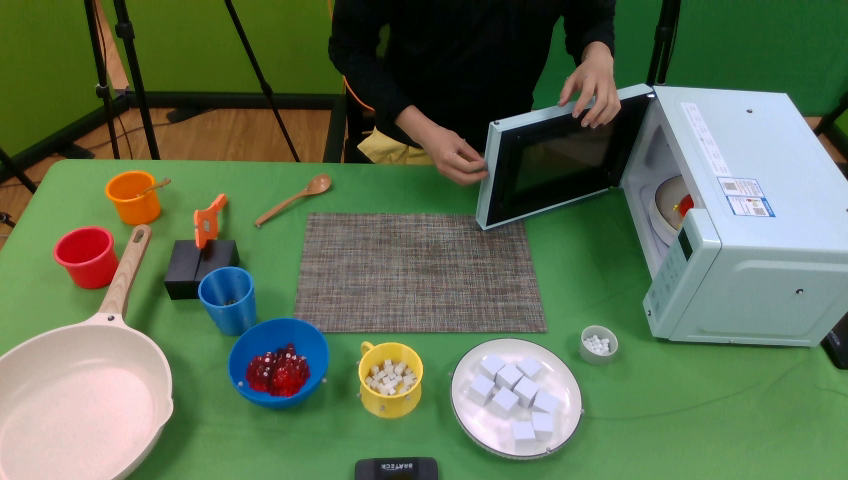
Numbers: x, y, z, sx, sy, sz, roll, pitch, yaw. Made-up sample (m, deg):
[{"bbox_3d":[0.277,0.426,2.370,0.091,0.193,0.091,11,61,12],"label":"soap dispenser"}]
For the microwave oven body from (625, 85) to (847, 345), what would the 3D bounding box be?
[{"bbox_3d":[0.568,-0.054,1.116,0.326,0.261,0.439,2,46,-1],"label":"microwave oven body"}]

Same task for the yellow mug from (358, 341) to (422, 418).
[{"bbox_3d":[-0.063,0.210,0.961,0.100,0.064,0.130,-29,54,-28],"label":"yellow mug"}]

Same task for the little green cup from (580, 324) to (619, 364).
[{"bbox_3d":[0.296,0.179,1.031,0.061,0.039,0.061,2,45,-2],"label":"little green cup"}]

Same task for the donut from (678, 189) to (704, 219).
[{"bbox_3d":[0.542,-0.060,1.173,0.099,0.048,0.098,2,44,-1],"label":"donut"}]

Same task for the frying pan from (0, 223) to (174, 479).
[{"bbox_3d":[-0.504,0.169,0.941,0.307,0.103,0.485,5,54,-1],"label":"frying pan"}]

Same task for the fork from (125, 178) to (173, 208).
[{"bbox_3d":[-0.525,-0.090,1.154,0.207,0.019,0.028,-17,27,45],"label":"fork"}]

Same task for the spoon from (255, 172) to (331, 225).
[{"bbox_3d":[-0.272,-0.087,1.257,0.041,0.022,0.193,43,57,16],"label":"spoon"}]

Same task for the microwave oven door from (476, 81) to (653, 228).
[{"bbox_3d":[0.276,-0.168,1.197,0.356,0.245,0.039,-18,51,-20],"label":"microwave oven door"}]

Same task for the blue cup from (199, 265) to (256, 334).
[{"bbox_3d":[-0.321,0.106,1.014,0.093,0.101,0.092,2,48,-2],"label":"blue cup"}]

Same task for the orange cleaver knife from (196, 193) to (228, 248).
[{"bbox_3d":[-0.406,-0.041,1.163,0.012,0.077,0.210,0,18,-3],"label":"orange cleaver knife"}]

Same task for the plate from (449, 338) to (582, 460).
[{"bbox_3d":[0.141,0.251,0.955,0.208,0.039,0.206,2,47,-2],"label":"plate"}]

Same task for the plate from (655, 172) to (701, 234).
[{"bbox_3d":[0.555,-0.052,1.187,0.209,0.038,0.208,2,46,-2],"label":"plate"}]

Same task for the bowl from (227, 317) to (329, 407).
[{"bbox_3d":[-0.222,0.203,0.947,0.151,0.077,0.150,2,46,-2],"label":"bowl"}]

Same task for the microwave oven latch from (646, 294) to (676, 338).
[{"bbox_3d":[0.412,0.133,1.060,0.030,0.029,0.078,4,46,1],"label":"microwave oven latch"}]
